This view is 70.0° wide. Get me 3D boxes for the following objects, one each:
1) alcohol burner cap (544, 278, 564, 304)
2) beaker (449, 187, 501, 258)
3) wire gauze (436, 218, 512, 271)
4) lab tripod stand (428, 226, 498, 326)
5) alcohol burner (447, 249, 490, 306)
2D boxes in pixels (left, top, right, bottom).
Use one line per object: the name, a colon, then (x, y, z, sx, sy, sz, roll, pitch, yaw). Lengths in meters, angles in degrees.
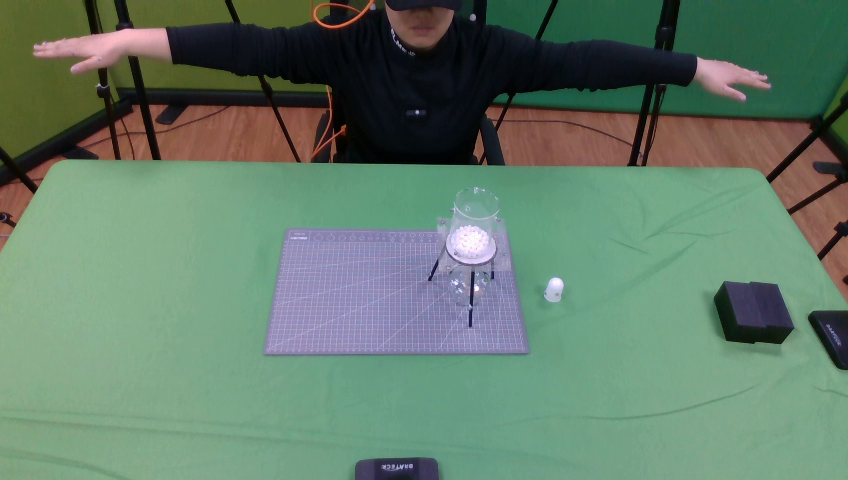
alcohol burner cap: (0.241, 0.090, 1.117, 0.034, 0.048, 0.033, 1, 45, -1)
beaker: (0.080, -0.027, 0.991, 0.074, 0.101, 0.083, 3, 46, -3)
wire gauze: (0.083, 0.007, 1.026, 0.121, 0.011, 0.124, 3, 44, -5)
lab tripod stand: (0.079, 0.056, 1.070, 0.148, 0.132, 0.147, 3, 47, -3)
alcohol burner: (0.079, 0.062, 1.078, 0.078, 0.120, 0.077, 1, 45, -1)
